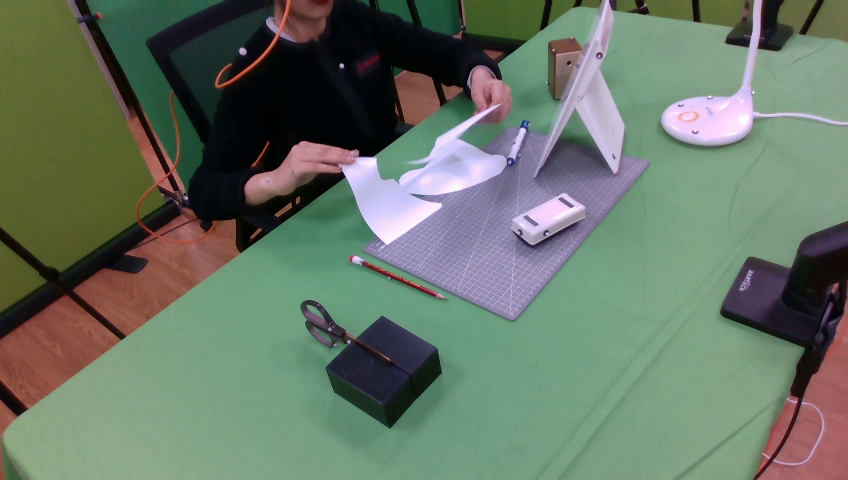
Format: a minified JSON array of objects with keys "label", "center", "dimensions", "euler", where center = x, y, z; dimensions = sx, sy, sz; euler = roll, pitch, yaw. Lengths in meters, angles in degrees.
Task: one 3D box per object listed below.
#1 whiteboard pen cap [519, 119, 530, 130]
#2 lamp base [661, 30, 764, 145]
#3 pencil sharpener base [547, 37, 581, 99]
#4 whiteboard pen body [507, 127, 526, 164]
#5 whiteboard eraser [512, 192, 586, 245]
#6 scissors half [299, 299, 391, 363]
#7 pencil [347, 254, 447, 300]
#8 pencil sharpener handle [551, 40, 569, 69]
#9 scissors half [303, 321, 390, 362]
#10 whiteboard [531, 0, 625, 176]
[{"label":"whiteboard pen cap","center":[0.199,-0.227,1.205],"dimensions":[0.018,0.018,0.033],"euler":[8,41,19]},{"label":"lamp base","center":[0.535,-0.287,1.096],"dimensions":[0.179,0.181,0.159],"euler":[-10,40,-4]},{"label":"pencil sharpener base","center":[0.299,-0.368,1.290],"dimensions":[0.061,0.107,0.076],"euler":[-8,40,2]},{"label":"whiteboard pen body","center":[0.181,-0.190,1.163],"dimensions":[0.017,0.017,0.140],"euler":[7,42,19]},{"label":"whiteboard eraser","center":[0.199,-0.032,0.962],"dimensions":[0.113,0.042,0.055],"euler":[-27,43,-20]},{"label":"scissors half","center":[-0.107,0.120,0.794],"dimensions":[0.174,0.040,0.013],"euler":[26,46,32]},{"label":"pencil","center":[-0.044,0.058,0.933],"dimensions":[0.192,0.012,0.012],"euler":[22,49,29]},{"label":"pencil sharpener handle","center":[0.291,-0.409,1.320],"dimensions":[0.036,0.068,0.030],"euler":[2,40,-6]},{"label":"scissors half","center":[-0.104,0.138,0.803],"dimensions":[0.174,0.040,0.013],"euler":[8,29,44]},{"label":"whiteboard","center":[0.320,-0.258,1.050],"dimensions":[0.144,0.306,0.217],"euler":[22,45,5]}]
